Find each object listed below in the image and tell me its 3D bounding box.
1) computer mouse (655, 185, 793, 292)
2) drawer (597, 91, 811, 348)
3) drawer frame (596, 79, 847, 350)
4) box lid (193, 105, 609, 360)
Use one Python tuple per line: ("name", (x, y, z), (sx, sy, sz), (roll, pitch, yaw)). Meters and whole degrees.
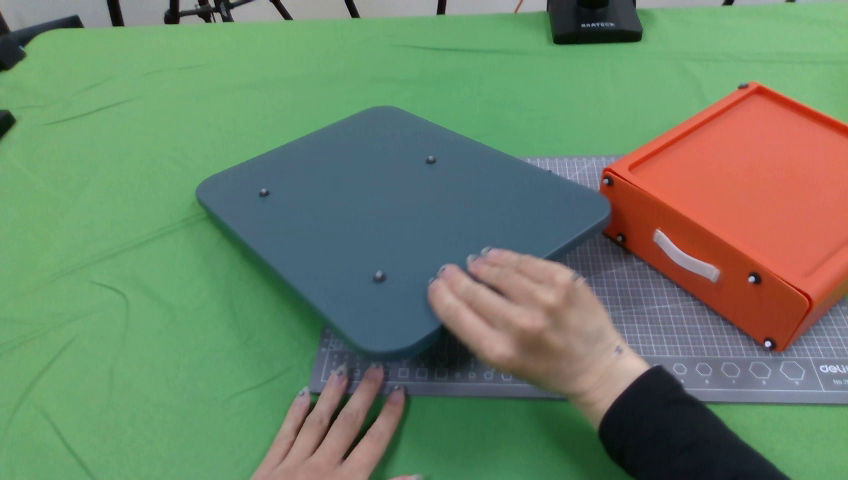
("computer mouse", (0.268, -0.007, 0.540), (0.063, 0.041, 0.116), (-28, 57, -25))
("drawer", (0.297, -0.034, 0.546), (0.212, 0.074, 0.192), (-30, 50, -22))
("drawer frame", (0.299, -0.038, 0.546), (0.214, 0.083, 0.199), (-30, 51, -23))
("box lid", (-0.041, -0.040, 0.582), (0.263, 0.015, 0.367), (-30, 41, -27))
